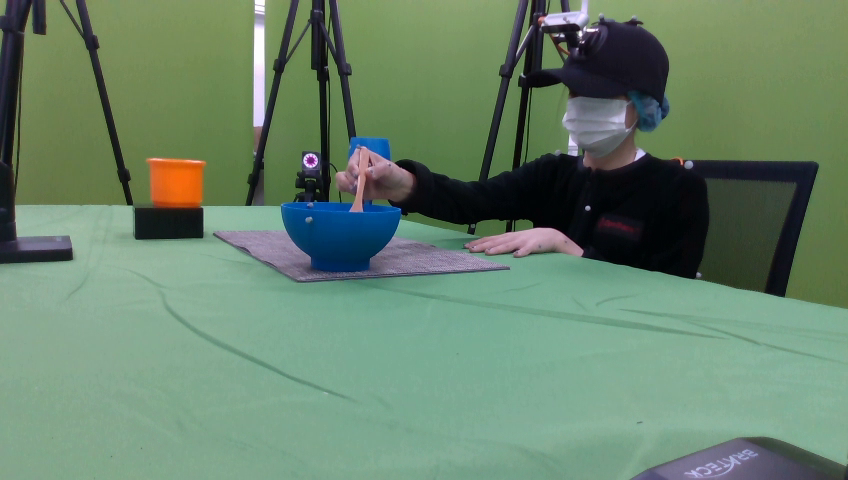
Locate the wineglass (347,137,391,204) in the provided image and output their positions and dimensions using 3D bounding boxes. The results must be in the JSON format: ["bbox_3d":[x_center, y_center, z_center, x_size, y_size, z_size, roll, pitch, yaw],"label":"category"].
[{"bbox_3d":[-0.092,-0.081,0.998,0.074,0.172,0.073,3,7,0],"label":"wineglass"}]

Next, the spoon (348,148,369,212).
[{"bbox_3d":[-0.086,-0.062,0.805,0.042,0.021,0.193,13,49,-11],"label":"spoon"}]

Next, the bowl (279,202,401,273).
[{"bbox_3d":[-0.105,-0.003,0.756,0.151,0.077,0.151,3,7,0],"label":"bowl"}]
